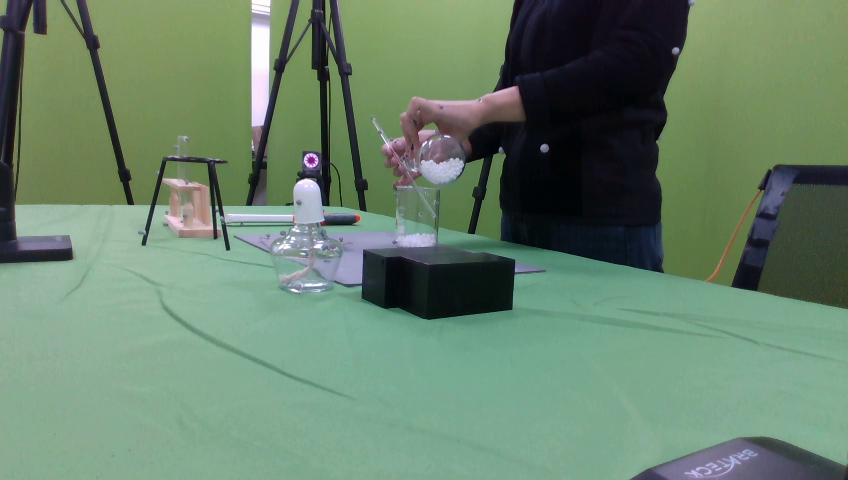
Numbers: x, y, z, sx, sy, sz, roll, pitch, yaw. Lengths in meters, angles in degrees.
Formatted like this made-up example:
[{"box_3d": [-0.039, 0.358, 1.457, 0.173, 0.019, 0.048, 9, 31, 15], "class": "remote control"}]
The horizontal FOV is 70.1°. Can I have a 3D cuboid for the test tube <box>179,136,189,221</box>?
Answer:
[{"box_3d": [-0.425, -0.108, 1.070, 0.017, 0.150, 0.017, 4, 9, 0], "class": "test tube"}]

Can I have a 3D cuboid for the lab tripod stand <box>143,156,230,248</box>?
[{"box_3d": [-0.338, -0.058, 0.908, 0.148, 0.131, 0.148, 4, 7, 0], "class": "lab tripod stand"}]

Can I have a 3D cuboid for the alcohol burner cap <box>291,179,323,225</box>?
[{"box_3d": [-0.124, -0.040, 0.632, 0.034, 0.048, 0.034, -3, 10, 1], "class": "alcohol burner cap"}]

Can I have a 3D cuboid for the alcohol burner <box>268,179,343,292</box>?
[{"box_3d": [-0.124, -0.005, 0.637, 0.078, 0.119, 0.078, 4, 8, 0], "class": "alcohol burner"}]

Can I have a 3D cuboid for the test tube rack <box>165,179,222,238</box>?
[{"box_3d": [-0.423, -0.062, 1.098, 0.067, 0.085, 0.241, -2, 9, -28], "class": "test tube rack"}]

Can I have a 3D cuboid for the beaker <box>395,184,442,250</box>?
[{"box_3d": [-0.009, -0.038, 0.968, 0.074, 0.100, 0.084, 6, 8, 21], "class": "beaker"}]

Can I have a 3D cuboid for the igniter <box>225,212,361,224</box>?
[{"box_3d": [-0.262, -0.045, 1.240, 0.278, 0.025, 0.057, -2, -1, -31], "class": "igniter"}]

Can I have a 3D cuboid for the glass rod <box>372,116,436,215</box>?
[{"box_3d": [-0.033, -0.121, 0.970, 0.008, 0.199, 0.008, -30, -15, -8], "class": "glass rod"}]

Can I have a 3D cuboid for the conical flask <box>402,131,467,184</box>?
[{"box_3d": [0.007, -0.123, 0.908, 0.075, 0.075, 0.121, -1, 7, -24], "class": "conical flask"}]

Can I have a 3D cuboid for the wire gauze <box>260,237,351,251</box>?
[{"box_3d": [-0.185, 0.004, 0.938, 0.122, 0.011, 0.124, -1, 5, -24], "class": "wire gauze"}]
